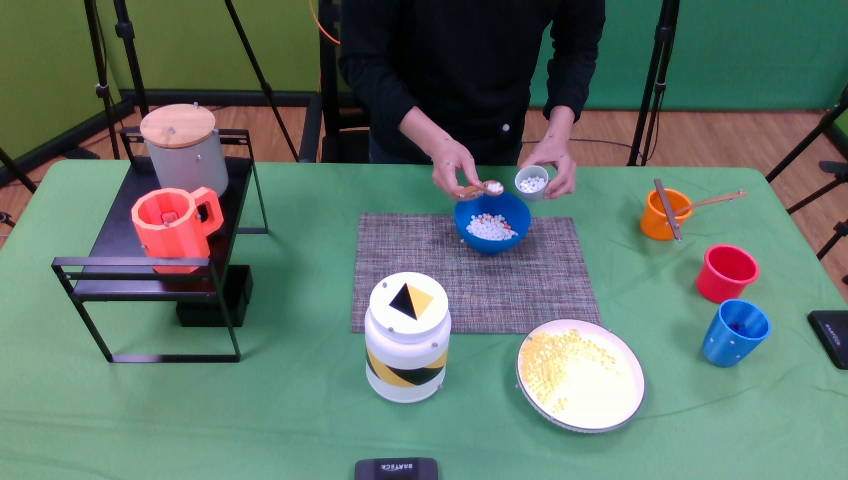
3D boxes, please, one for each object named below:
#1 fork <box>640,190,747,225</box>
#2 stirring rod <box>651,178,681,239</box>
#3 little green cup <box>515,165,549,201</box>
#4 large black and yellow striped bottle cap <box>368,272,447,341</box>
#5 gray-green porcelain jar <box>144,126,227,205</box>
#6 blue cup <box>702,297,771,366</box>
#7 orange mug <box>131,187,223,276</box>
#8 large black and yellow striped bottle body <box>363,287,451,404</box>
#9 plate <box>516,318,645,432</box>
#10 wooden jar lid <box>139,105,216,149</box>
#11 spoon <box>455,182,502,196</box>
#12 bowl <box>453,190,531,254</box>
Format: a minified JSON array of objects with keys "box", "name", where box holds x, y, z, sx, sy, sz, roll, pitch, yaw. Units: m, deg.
[{"box":[0.533,-0.064,1.211,0.207,0.019,0.028,-22,28,39],"name":"fork"},{"box":[0.479,-0.065,1.204,0.014,0.006,0.175,3,46,-4],"name":"stirring rod"},{"box":[0.201,-0.103,1.118,0.061,0.039,0.061,-8,62,17],"name":"little green cup"},{"box":[-0.023,0.093,0.875,0.115,0.019,0.114,3,46,-3],"name":"large black and yellow striped bottle cap"},{"box":[-0.375,-0.126,0.967,0.106,0.127,0.105,2,46,-2],"name":"gray-green porcelain jar"},{"box":[0.519,0.162,1.025,0.093,0.101,0.092,3,45,-3],"name":"blue cup"},{"box":[-0.354,-0.022,0.888,0.083,0.101,0.126,31,55,24],"name":"orange mug"},{"box":[-0.027,0.153,0.935,0.131,0.185,0.130,2,46,-2],"name":"large black and yellow striped bottle body"},{"box":[0.253,0.221,0.993,0.209,0.038,0.208,2,46,-2],"name":"plate"},{"box":[-0.372,-0.169,0.920,0.108,0.021,0.107,4,44,-4],"name":"wooden jar lid"},{"box":[0.093,-0.088,1.047,0.041,0.021,0.194,33,16,19],"name":"spoon"},{"box":[0.128,-0.025,1.187,0.151,0.077,0.150,2,46,-2],"name":"bowl"}]
